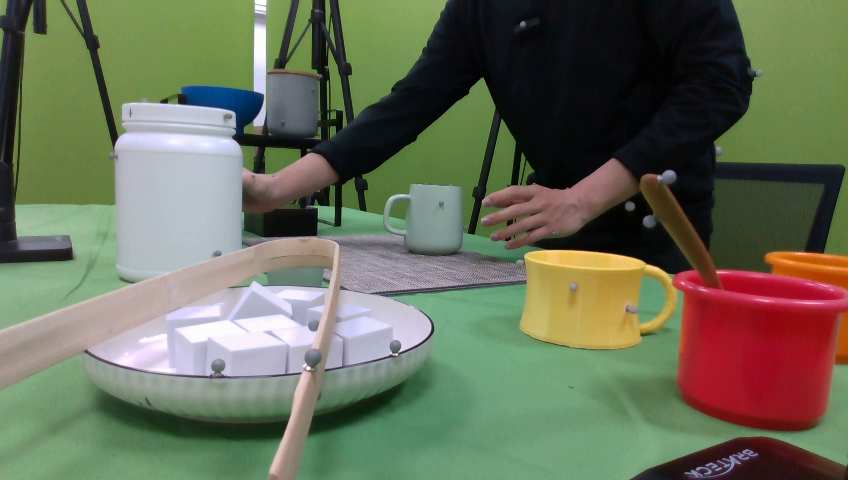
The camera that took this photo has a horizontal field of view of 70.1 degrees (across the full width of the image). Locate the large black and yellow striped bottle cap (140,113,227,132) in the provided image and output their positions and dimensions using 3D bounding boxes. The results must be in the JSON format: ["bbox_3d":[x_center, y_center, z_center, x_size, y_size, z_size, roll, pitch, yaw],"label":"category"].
[{"bbox_3d":[-0.343,-0.168,0.866,0.115,0.019,0.115,5,9,-1],"label":"large black and yellow striped bottle cap"}]

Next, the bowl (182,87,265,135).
[{"bbox_3d":[-0.383,-0.243,1.158,0.151,0.077,0.151,2,7,0],"label":"bowl"}]

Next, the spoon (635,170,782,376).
[{"bbox_3d":[0.161,0.026,0.346,0.041,0.194,0.021,9,55,53],"label":"spoon"}]

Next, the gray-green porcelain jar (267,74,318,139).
[{"bbox_3d":[-0.277,-0.279,1.280,0.106,0.126,0.106,2,7,0],"label":"gray-green porcelain jar"}]

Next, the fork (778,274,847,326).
[{"bbox_3d":[0.332,0.018,0.443,0.028,0.018,0.207,-2,-35,-16],"label":"fork"}]

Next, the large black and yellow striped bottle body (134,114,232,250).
[{"bbox_3d":[-0.349,-0.086,0.882,0.131,0.184,0.130,6,10,-1],"label":"large black and yellow striped bottle body"}]

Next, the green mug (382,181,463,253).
[{"bbox_3d":[-0.001,-0.036,0.922,0.126,0.105,0.092,0,8,-16],"label":"green mug"}]

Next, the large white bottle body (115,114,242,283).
[{"bbox_3d":[-0.270,-0.051,0.673,0.131,0.184,0.130,2,8,0],"label":"large white bottle body"}]

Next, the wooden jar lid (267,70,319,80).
[{"bbox_3d":[-0.275,-0.339,1.271,0.108,0.020,0.108,4,6,0],"label":"wooden jar lid"}]

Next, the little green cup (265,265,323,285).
[{"bbox_3d":[-0.134,0.033,0.628,0.061,0.038,0.061,3,7,0],"label":"little green cup"}]

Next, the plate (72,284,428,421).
[{"bbox_3d":[-0.102,0.067,0.381,0.208,0.039,0.207,3,7,0],"label":"plate"}]

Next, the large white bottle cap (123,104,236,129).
[{"bbox_3d":[-0.266,-0.135,0.663,0.115,0.018,0.115,3,7,0],"label":"large white bottle cap"}]

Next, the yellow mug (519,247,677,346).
[{"bbox_3d":[0.148,0.045,0.513,0.131,0.064,0.100,3,7,0],"label":"yellow mug"}]

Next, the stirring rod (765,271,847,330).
[{"bbox_3d":[0.352,0.020,0.481,0.176,0.006,0.014,-40,-7,17],"label":"stirring rod"}]

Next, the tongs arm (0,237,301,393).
[{"bbox_3d":[-0.158,0.039,0.347,0.028,0.028,0.388,-3,8,11],"label":"tongs arm"}]

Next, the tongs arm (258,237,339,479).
[{"bbox_3d":[-0.074,0.040,0.345,0.051,0.026,0.384,-2,9,-3],"label":"tongs arm"}]
